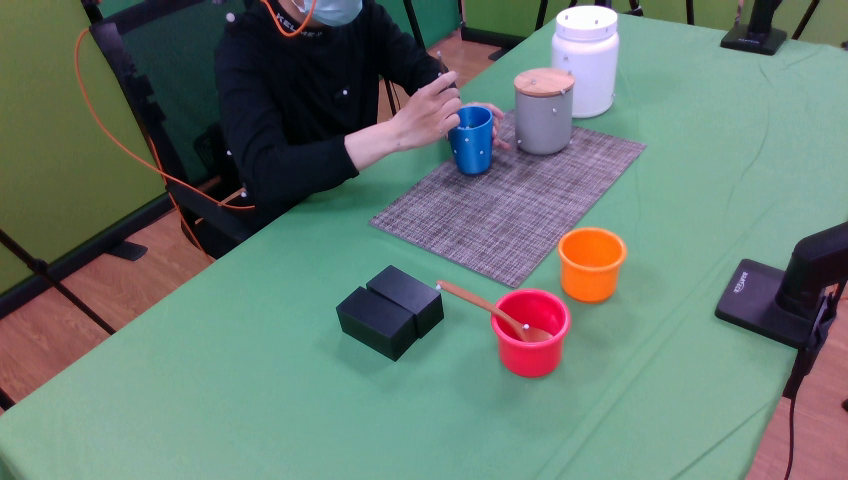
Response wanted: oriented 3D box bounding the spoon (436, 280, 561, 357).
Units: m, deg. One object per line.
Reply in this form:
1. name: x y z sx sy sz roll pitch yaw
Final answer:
1. spoon: 0.096 0.095 0.757 0.195 0.021 0.041 34 43 -20

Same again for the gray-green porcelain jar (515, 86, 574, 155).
1. gray-green porcelain jar: 0.223 -0.232 1.129 0.106 0.127 0.105 -4 40 4

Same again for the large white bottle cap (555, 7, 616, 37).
1. large white bottle cap: 0.311 -0.420 1.163 0.115 0.018 0.114 -4 40 4

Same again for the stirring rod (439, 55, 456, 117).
1. stirring rod: 0.048 -0.237 1.056 0.006 0.177 0.014 -11 33 7

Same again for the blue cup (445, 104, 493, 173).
1. blue cup: 0.086 -0.178 1.085 0.092 0.101 0.092 -6 40 5

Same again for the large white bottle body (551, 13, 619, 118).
1. large white bottle body: 0.321 -0.355 1.218 0.130 0.185 0.130 -4 41 4

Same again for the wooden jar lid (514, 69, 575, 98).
1. wooden jar lid: 0.216 -0.279 1.088 0.108 0.021 0.108 -3 38 3
